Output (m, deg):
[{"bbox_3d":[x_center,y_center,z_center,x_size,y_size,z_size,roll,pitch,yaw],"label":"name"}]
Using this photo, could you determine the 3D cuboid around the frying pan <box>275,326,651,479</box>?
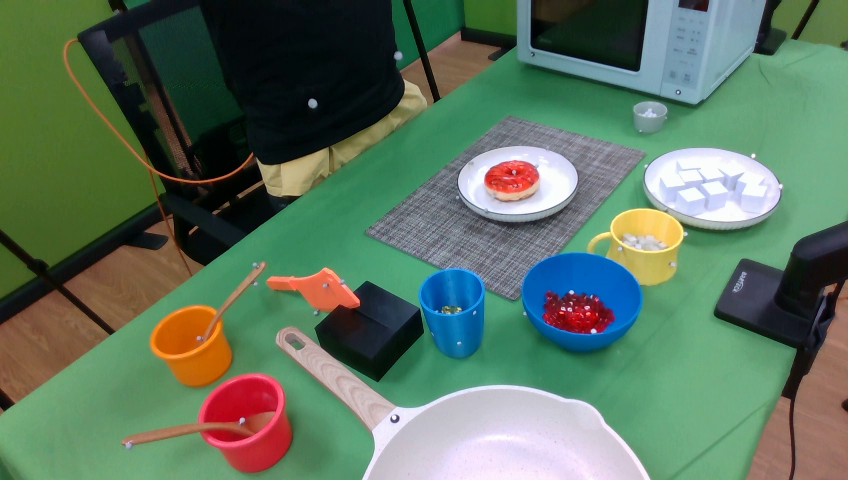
[{"bbox_3d":[0.003,0.229,0.641,0.484,0.103,0.308,34,54,28],"label":"frying pan"}]

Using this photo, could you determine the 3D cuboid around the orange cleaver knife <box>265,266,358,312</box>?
[{"bbox_3d":[-0.164,0.073,0.864,0.210,0.077,0.012,-6,31,50],"label":"orange cleaver knife"}]

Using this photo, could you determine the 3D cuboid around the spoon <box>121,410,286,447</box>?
[{"bbox_3d":[-0.236,0.208,0.669,0.041,0.021,0.195,35,13,38],"label":"spoon"}]

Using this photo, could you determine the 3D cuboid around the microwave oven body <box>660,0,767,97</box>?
[{"bbox_3d":[0.473,-0.516,1.313,0.438,0.261,0.327,26,51,34],"label":"microwave oven body"}]

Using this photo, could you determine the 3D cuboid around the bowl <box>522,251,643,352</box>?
[{"bbox_3d":[0.204,0.093,0.792,0.151,0.077,0.150,-4,40,4],"label":"bowl"}]

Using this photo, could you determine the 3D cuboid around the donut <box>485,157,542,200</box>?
[{"bbox_3d":[0.153,-0.108,1.039,0.099,0.048,0.098,-6,37,5],"label":"donut"}]

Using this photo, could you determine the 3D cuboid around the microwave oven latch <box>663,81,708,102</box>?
[{"bbox_3d":[0.518,-0.299,1.202,0.078,0.029,0.030,30,54,36],"label":"microwave oven latch"}]

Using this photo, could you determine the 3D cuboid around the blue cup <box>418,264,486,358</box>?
[{"bbox_3d":[0.042,0.100,0.787,0.092,0.101,0.092,-5,41,5],"label":"blue cup"}]

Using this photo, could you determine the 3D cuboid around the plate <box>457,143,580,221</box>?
[{"bbox_3d":[0.162,-0.097,1.042,0.209,0.038,0.208,-4,40,4],"label":"plate"}]

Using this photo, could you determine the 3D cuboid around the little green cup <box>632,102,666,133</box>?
[{"bbox_3d":[0.434,-0.237,1.171,0.061,0.039,0.061,-5,40,5],"label":"little green cup"}]

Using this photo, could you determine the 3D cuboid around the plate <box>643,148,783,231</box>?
[{"bbox_3d":[0.464,-0.080,0.985,0.207,0.039,0.206,-4,41,4],"label":"plate"}]

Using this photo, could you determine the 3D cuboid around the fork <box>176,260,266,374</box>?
[{"bbox_3d":[-0.268,0.102,0.793,0.207,0.019,0.028,-51,39,17],"label":"fork"}]

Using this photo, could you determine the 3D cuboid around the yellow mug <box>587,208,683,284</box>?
[{"bbox_3d":[0.305,0.009,0.884,0.131,0.064,0.099,-4,41,5],"label":"yellow mug"}]

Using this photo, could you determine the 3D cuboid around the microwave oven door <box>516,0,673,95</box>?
[{"bbox_3d":[0.344,-0.458,1.256,0.353,0.245,0.039,26,51,33],"label":"microwave oven door"}]
